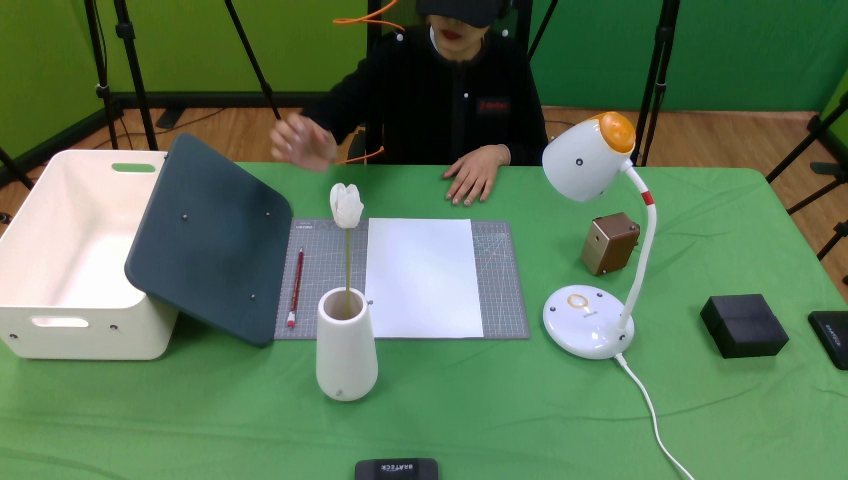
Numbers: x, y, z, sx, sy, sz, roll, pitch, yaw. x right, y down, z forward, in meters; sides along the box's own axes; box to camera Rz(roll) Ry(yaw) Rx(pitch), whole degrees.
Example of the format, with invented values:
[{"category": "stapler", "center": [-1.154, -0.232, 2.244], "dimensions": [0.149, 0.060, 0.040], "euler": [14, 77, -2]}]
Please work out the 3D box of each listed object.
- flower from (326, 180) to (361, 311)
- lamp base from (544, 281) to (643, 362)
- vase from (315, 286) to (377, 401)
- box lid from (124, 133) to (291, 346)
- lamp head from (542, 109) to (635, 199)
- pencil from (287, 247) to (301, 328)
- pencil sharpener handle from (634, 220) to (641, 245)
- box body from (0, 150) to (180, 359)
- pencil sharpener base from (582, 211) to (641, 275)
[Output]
[{"category": "flower", "center": [-0.110, 0.086, 0.867], "dimensions": [0.044, 0.363, 0.038], "euler": [22, 33, 35]}, {"category": "lamp base", "center": [0.304, 0.095, 1.014], "dimensions": [0.161, 0.181, 0.178], "euler": [-24, 54, -24]}, {"category": "vase", "center": [-0.119, 0.159, 0.911], "dimensions": [0.098, 0.201, 0.097], "euler": [2, 47, -2]}, {"category": "box lid", "center": [-0.355, -0.012, 1.064], "dimensions": [0.015, 0.265, 0.369], "euler": [-33, 39, 26]}, {"category": "lamp head", "center": [0.253, -0.131, 0.893], "dimensions": [0.113, 0.123, 0.112], "euler": [10, 66, -24]}, {"category": "pencil", "center": [-0.236, 0.080, 1.106], "dimensions": [0.012, 0.012, 0.193], "euler": [0, 45, -4]}, {"category": "pencil sharpener handle", "center": [0.405, -0.015, 1.161], "dimensions": [0.031, 0.068, 0.035], "euler": [-15, 43, -18]}, {"category": "box body", "center": [-0.541, 0.021, 1.041], "dimensions": [0.254, 0.161, 0.361], "euler": [1, 46, -3]}, {"category": "pencil sharpener base", "center": [0.357, 0.005, 1.156], "dimensions": [0.077, 0.107, 0.061], "euler": [-15, 48, -18]}]
